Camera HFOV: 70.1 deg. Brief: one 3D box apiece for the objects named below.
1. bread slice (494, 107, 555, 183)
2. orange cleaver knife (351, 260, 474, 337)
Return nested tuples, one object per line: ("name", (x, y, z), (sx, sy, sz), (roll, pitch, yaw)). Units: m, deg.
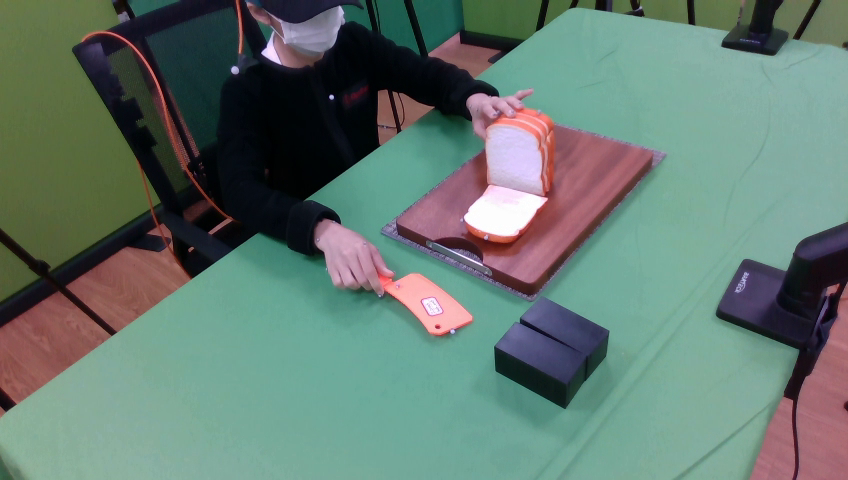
("bread slice", (0.168, -0.156, 1.003), (0.106, 0.135, 0.018), (18, 49, 19))
("orange cleaver knife", (-0.021, 0.076, 0.887), (0.209, 0.012, 0.077), (32, 44, 32))
